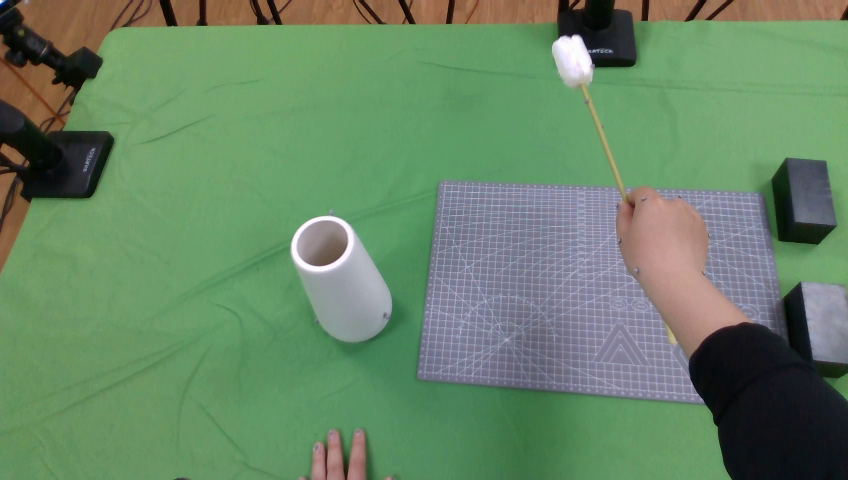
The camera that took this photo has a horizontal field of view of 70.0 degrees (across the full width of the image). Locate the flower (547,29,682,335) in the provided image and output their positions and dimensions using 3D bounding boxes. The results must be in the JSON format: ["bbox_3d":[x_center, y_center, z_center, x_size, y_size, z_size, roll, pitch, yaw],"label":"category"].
[{"bbox_3d":[0.201,-0.073,0.640,0.038,0.044,0.359,-32,64,39],"label":"flower"}]

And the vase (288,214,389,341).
[{"bbox_3d":[-0.099,0.048,0.719,0.098,0.201,0.097,-2,62,3],"label":"vase"}]
